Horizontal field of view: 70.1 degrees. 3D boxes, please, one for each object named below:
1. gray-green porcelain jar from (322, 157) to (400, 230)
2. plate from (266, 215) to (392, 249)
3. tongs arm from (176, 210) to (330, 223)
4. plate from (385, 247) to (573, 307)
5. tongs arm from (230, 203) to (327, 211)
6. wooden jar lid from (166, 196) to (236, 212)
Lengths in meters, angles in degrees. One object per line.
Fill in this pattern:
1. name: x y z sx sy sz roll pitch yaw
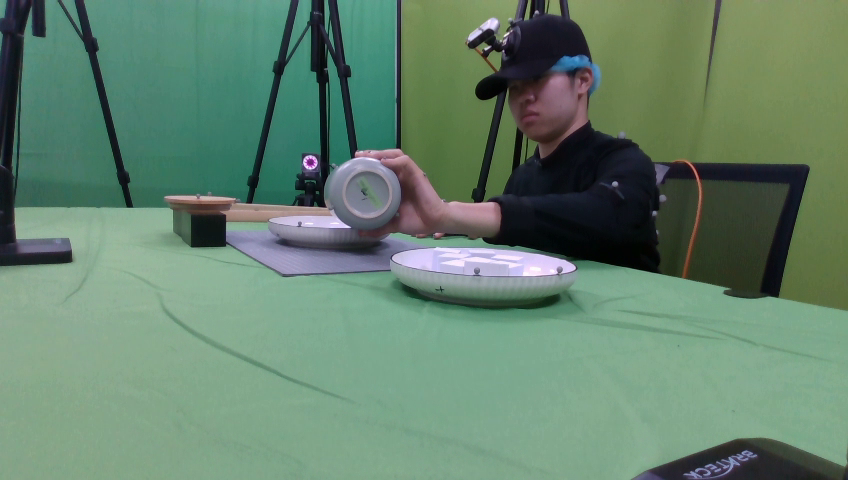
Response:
1. gray-green porcelain jar: -0.095 -0.069 0.902 0.106 0.105 0.126 1 5 -14
2. plate: -0.159 -0.015 1.019 0.209 0.038 0.209 3 7 0
3. tongs arm: -0.337 -0.053 1.329 0.389 0.028 0.028 -1 6 -27
4. plate: 0.060 0.041 0.678 0.208 0.039 0.207 3 7 0
5. tongs arm: -0.362 -0.068 1.406 0.386 0.026 0.050 2 8 -14
6. wooden jar lid: -0.369 -0.060 1.001 0.108 0.020 0.108 3 6 0
